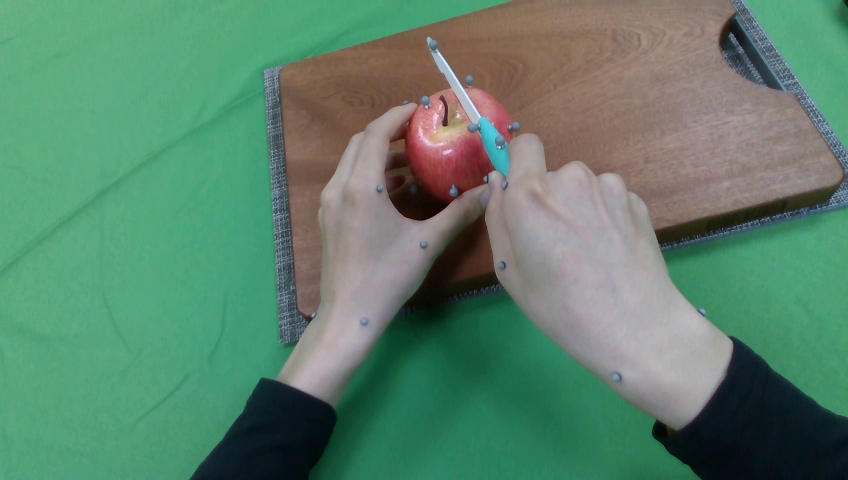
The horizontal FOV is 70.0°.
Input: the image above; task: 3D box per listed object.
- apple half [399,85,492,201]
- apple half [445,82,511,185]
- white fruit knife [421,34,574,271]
[{"bbox_3d":[0.010,-0.064,0.441,0.053,0.075,0.080,-26,62,-1],"label":"apple half"},{"bbox_3d":[0.046,-0.081,0.443,0.033,0.082,0.080,-27,59,0],"label":"apple half"},{"bbox_3d":[0.038,-0.068,0.384,0.016,0.028,0.205,-25,59,-3],"label":"white fruit knife"}]
